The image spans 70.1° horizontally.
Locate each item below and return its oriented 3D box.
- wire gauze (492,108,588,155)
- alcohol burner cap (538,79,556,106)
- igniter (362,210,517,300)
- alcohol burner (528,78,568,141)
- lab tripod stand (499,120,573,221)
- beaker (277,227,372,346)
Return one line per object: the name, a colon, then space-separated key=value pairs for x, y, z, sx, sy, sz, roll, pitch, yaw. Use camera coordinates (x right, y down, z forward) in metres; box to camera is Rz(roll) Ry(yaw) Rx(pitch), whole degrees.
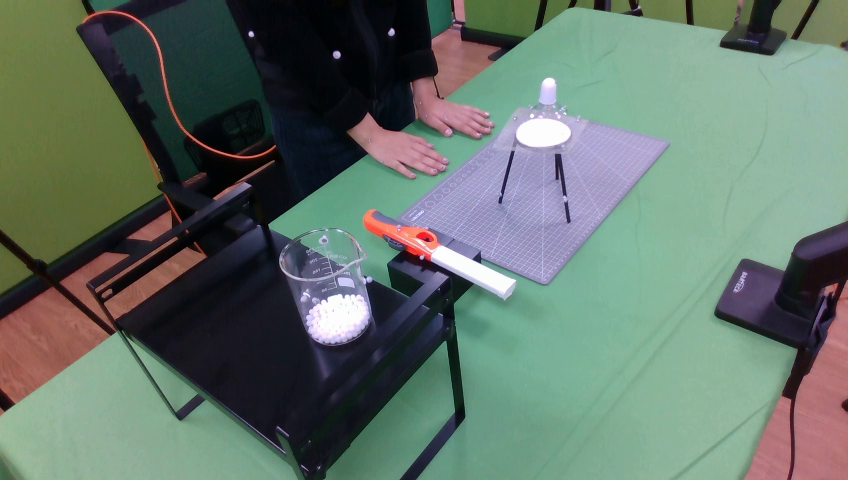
wire gauze: x=0.185 y=-0.170 z=0.953 sx=0.121 sy=0.011 sz=0.125 roll=13 pitch=44 yaw=22
alcohol burner cap: x=0.234 y=-0.281 z=1.141 sx=0.034 sy=0.048 sz=0.033 roll=-1 pitch=42 yaw=2
igniter: x=0.012 y=0.015 z=0.880 sx=0.274 sy=0.025 sz=0.057 roll=26 pitch=48 yaw=30
alcohol burner: x=0.238 y=-0.253 z=1.163 sx=0.078 sy=0.119 sz=0.077 roll=-6 pitch=40 yaw=6
lab tripod stand: x=0.198 y=-0.117 z=0.992 sx=0.148 sy=0.132 sz=0.147 roll=-3 pitch=40 yaw=3
beaker: x=-0.090 y=0.048 z=0.593 sx=0.084 sy=0.101 sz=0.073 roll=-3 pitch=41 yaw=5
